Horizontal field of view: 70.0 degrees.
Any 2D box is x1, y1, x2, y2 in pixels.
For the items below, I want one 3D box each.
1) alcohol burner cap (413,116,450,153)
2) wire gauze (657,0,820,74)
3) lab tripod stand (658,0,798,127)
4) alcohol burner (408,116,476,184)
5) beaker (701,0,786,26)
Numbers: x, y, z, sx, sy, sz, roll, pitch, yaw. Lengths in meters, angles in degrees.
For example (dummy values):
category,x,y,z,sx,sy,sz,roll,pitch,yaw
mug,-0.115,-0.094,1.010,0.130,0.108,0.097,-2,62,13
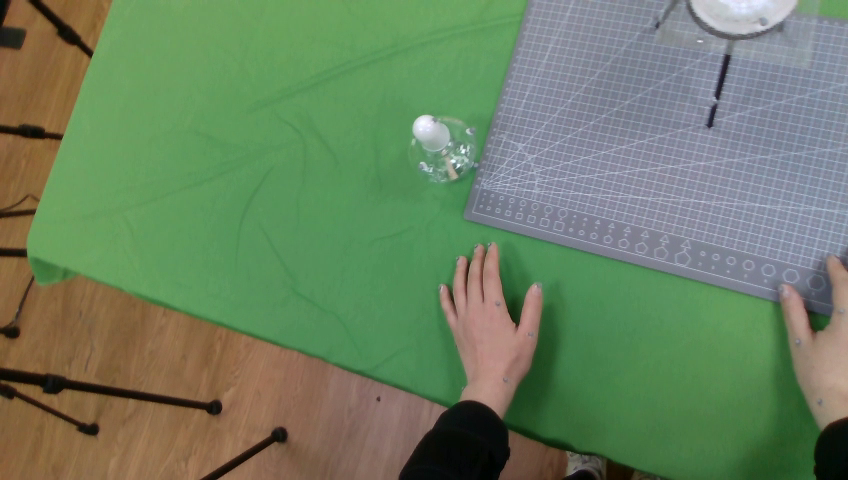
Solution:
category,x,y,z,sx,sy,sz,roll,pitch,yaw
alcohol burner cap,0.005,-0.111,0.623,0.034,0.048,0.034,-2,83,16
wire gauze,0.276,-0.213,0.520,0.124,0.011,0.121,16,88,15
lab tripod stand,0.294,-0.200,0.582,0.148,0.132,0.148,-2,81,14
alcohol burner,0.016,-0.104,0.657,0.078,0.120,0.077,-3,78,14
beaker,0.258,-0.223,0.476,0.083,0.101,0.074,30,89,19
